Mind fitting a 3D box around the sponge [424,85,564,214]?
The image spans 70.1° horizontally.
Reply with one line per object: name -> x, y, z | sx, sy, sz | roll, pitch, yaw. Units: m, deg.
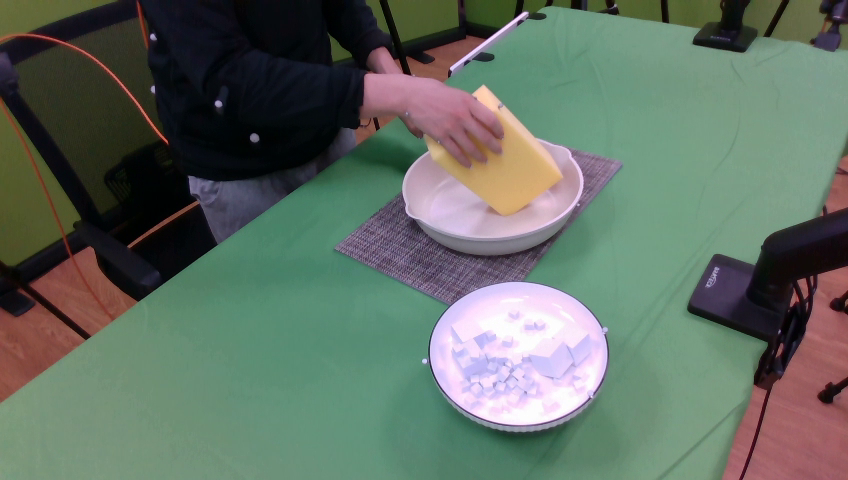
sponge -> 0.112, -0.129, 0.934 | 0.118, 0.209, 0.060 | -36, 49, 21

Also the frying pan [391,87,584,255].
frying pan -> 0.063, -0.143, 1.056 | 0.308, 0.103, 0.483 | -22, 51, -18

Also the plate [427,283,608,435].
plate -> 0.108, 0.137, 0.708 | 0.207, 0.039, 0.206 | -4, 42, 4
